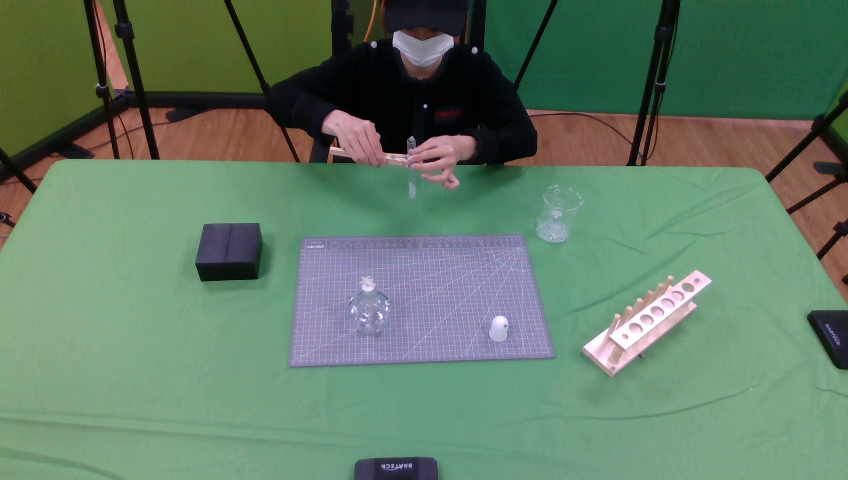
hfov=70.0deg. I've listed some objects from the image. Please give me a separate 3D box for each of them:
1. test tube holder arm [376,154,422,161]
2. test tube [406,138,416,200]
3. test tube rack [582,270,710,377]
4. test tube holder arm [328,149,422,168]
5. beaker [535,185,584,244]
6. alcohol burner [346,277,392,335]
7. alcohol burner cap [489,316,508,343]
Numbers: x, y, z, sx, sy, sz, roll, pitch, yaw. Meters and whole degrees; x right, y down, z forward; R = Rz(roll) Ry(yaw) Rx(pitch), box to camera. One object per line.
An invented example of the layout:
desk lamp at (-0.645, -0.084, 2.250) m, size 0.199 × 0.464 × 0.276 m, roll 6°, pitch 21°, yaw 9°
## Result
test tube holder arm at (-0.047, -0.154, 1.140) m, size 0.088 × 0.015 × 0.010 m, roll 0°, pitch 45°, yaw -3°
test tube at (-0.025, -0.132, 1.153) m, size 0.017 × 0.151 × 0.017 m, roll 0°, pitch 49°, yaw 0°
test tube rack at (0.389, 0.132, 1.057) m, size 0.242 × 0.085 × 0.066 m, roll -28°, pitch 53°, yaw -28°
test tube holder arm at (-0.092, -0.153, 1.137) m, size 0.178 × 0.015 × 0.013 m, roll 7°, pitch 45°, yaw 4°
beaker at (0.268, -0.048, 1.213) m, size 0.084 × 0.101 × 0.073 m, roll 6°, pitch 46°, yaw 0°
alcohol burner at (-0.093, 0.106, 1.021) m, size 0.078 × 0.120 × 0.077 m, roll 1°, pitch 46°, yaw -1°
alcohol burner cap at (0.130, 0.151, 1.045) m, size 0.034 × 0.048 × 0.033 m, roll 2°, pitch 46°, yaw -2°
